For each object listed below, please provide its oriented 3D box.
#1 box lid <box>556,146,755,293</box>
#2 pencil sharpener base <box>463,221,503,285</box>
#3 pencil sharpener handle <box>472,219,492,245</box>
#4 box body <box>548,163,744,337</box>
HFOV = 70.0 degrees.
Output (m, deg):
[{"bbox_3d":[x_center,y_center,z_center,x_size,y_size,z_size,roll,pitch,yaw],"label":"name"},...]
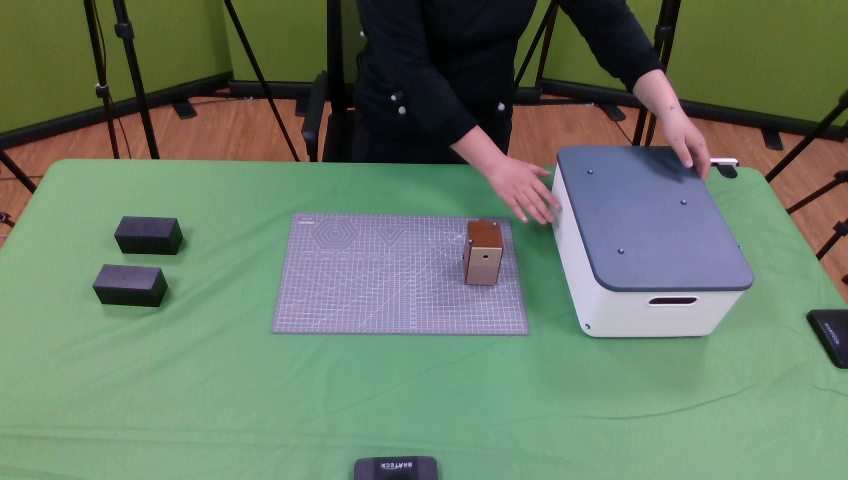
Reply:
[{"bbox_3d":[0.394,-0.051,1.075,0.263,0.015,0.369,0,46,-4],"label":"box lid"},{"bbox_3d":[0.107,0.024,1.119,0.061,0.107,0.076,1,45,-2],"label":"pencil sharpener base"},{"bbox_3d":[0.104,-0.021,1.146,0.036,0.068,0.030,6,45,-8],"label":"pencil sharpener handle"},{"bbox_3d":[0.391,-0.001,1.130,0.254,0.161,0.361,-1,46,-4],"label":"box body"}]
